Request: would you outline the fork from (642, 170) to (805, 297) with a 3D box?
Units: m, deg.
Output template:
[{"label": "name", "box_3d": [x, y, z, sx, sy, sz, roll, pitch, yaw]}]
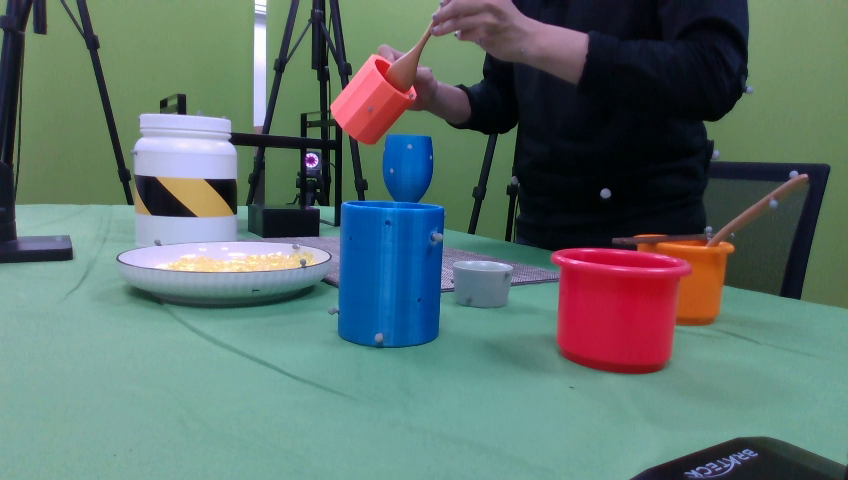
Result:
[{"label": "fork", "box_3d": [0.261, 0.004, 0.545, 0.028, 0.018, 0.207, 5, -37, -15]}]

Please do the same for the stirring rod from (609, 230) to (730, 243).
[{"label": "stirring rod", "box_3d": [0.241, -0.004, 0.582, 0.177, 0.006, 0.014, -4, 10, -33]}]

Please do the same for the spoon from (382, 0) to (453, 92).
[{"label": "spoon", "box_3d": [0.002, -0.280, 0.815, 0.041, 0.193, 0.021, 35, 24, -4]}]

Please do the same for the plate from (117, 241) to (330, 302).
[{"label": "plate", "box_3d": [-0.203, 0.031, 0.629, 0.209, 0.038, 0.209, 3, 7, 0]}]

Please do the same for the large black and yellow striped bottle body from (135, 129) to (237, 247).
[{"label": "large black and yellow striped bottle body", "box_3d": [-0.327, -0.074, 0.838, 0.131, 0.184, 0.130, 2, 7, 0]}]

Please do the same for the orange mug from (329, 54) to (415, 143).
[{"label": "orange mug", "box_3d": [-0.073, -0.215, 0.895, 0.084, 0.100, 0.126, 39, 33, -16]}]

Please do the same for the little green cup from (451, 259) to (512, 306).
[{"label": "little green cup", "box_3d": [0.057, 0.043, 0.612, 0.061, 0.038, 0.061, 3, 8, 0]}]

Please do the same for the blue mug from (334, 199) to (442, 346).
[{"label": "blue mug", "box_3d": [-0.034, 0.020, 0.498, 0.083, 0.106, 0.116, 0, 7, -19]}]

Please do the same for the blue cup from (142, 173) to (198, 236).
[{"label": "blue cup", "box_3d": [-0.425, -0.060, 1.014, 0.093, 0.100, 0.092, 4, 9, 0]}]

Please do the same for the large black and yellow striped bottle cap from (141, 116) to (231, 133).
[{"label": "large black and yellow striped bottle cap", "box_3d": [-0.324, -0.157, 0.826, 0.115, 0.019, 0.115, 1, 7, 0]}]

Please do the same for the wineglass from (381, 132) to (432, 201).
[{"label": "wineglass", "box_3d": [-0.026, -0.062, 0.841, 0.074, 0.172, 0.073, 2, 8, 0]}]
